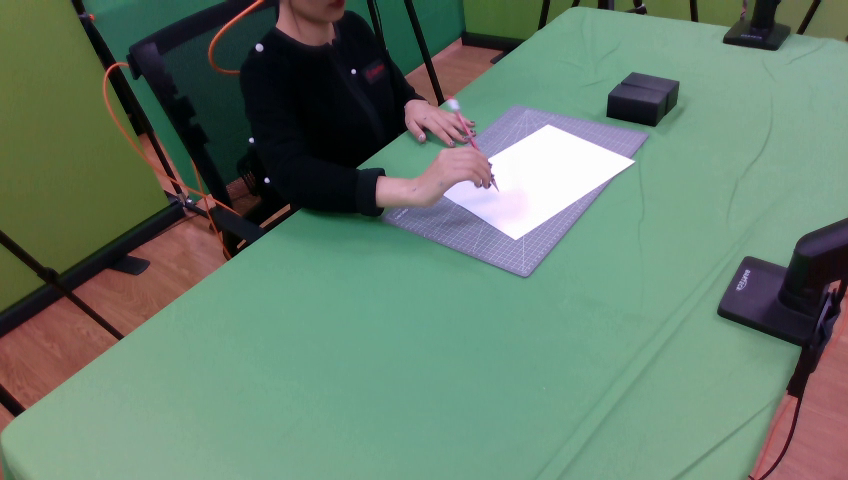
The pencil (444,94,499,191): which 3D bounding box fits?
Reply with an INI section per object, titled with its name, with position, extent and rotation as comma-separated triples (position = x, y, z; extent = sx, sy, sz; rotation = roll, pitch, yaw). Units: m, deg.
[pencil]
position = 0.081, -0.166, 1.019
extent = 0.012, 0.012, 0.193
rotation = -23, 76, -15
